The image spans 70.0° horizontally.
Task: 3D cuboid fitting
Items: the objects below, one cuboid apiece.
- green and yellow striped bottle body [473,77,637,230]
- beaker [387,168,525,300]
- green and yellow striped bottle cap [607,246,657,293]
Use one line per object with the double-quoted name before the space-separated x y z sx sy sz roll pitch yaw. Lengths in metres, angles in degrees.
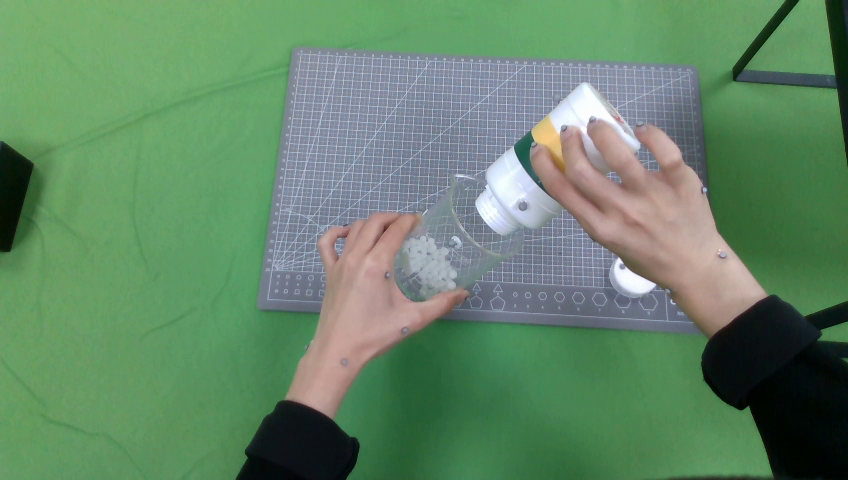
"green and yellow striped bottle body" 0.092 -0.057 0.453 0.120 0.063 0.063 -42 73 27
"beaker" 0.020 -0.001 0.503 0.074 0.100 0.083 -27 79 -47
"green and yellow striped bottle cap" 0.204 0.029 0.595 0.045 0.020 0.045 0 70 0
